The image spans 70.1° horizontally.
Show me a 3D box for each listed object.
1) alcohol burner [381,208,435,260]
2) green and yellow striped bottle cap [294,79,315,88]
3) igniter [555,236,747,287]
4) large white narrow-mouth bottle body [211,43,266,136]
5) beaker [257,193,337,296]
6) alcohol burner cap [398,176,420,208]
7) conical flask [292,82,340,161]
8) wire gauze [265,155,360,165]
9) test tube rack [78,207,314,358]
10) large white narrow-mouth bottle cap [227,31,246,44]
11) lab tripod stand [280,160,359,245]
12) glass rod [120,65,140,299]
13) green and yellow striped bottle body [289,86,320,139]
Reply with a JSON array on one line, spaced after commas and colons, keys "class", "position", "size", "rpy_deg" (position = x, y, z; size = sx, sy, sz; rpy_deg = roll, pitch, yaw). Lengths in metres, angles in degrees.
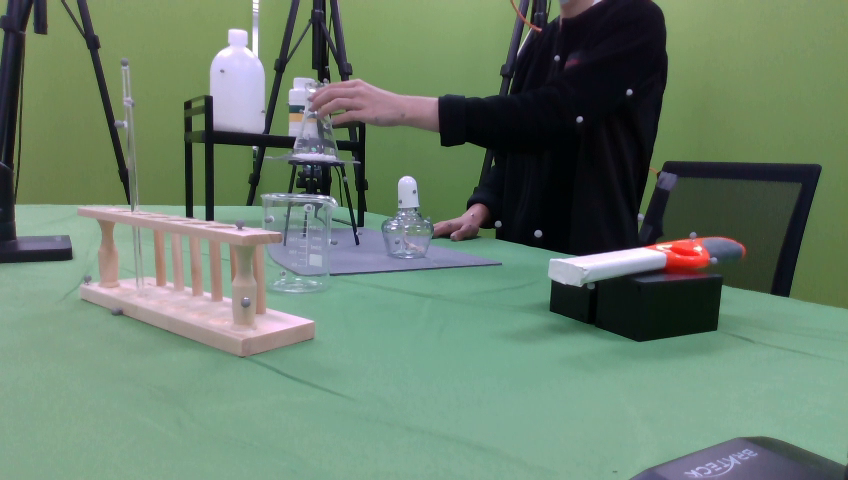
[{"class": "alcohol burner", "position": [-0.023, -0.032, 0.872], "size": [0.078, 0.119, 0.078], "rpy_deg": [0, 6, 0]}, {"class": "green and yellow striped bottle cap", "position": [-0.248, -0.323, 1.256], "size": [0.045, 0.020, 0.045], "rpy_deg": [4, 9, 0]}, {"class": "igniter", "position": [0.221, 0.017, 0.558], "size": [0.278, 0.025, 0.057], "rpy_deg": [-5, 15, -39]}, {"class": "large white narrow-mouth bottle body", "position": [-0.361, -0.302, 1.176], "size": [0.102, 0.194, 0.102], "rpy_deg": [1, 7, 0]}, {"class": "beaker", "position": [-0.130, 0.004, 0.628], "size": [0.084, 0.100, 0.074], "rpy_deg": [5, 8, 15]}, {"class": "alcohol burner cap", "position": [-0.023, -0.068, 0.866], "size": [0.034, 0.048, 0.034], "rpy_deg": [-4, 8, 1]}, {"class": "conical flask", "position": [-0.170, -0.185, 0.957], "size": [0.075, 0.122, 0.075], "rpy_deg": [2, 7, 0]}, {"class": "wire gauze", "position": [-0.181, -0.128, 0.969], "size": [0.126, 0.011, 0.121], "rpy_deg": [-3, 7, -26]}, {"class": "test tube rack", "position": [-0.197, 0.023, 0.499], "size": [0.241, 0.085, 0.067], "rpy_deg": [8, 8, 37]}, {"class": "large white narrow-mouth bottle cap", "position": [-0.361, -0.388, 1.166], "size": [0.038, 0.024, 0.037], "rpy_deg": [1, 7, 0]}, {"class": "lab tripod stand", "position": [-0.176, -0.062, 0.973], "size": [0.148, 0.131, 0.148], "rpy_deg": [1, 7, 0]}, {"class": "glass rod", "position": [-0.249, -0.047, 0.513], "size": [0.008, 0.199, 0.008], "rpy_deg": [-1, 4, 0]}, {"class": "green and yellow striped bottle body", "position": [-0.250, -0.272, 1.261], "size": [0.063, 0.119, 0.063], "rpy_deg": [3, 7, 0]}]
